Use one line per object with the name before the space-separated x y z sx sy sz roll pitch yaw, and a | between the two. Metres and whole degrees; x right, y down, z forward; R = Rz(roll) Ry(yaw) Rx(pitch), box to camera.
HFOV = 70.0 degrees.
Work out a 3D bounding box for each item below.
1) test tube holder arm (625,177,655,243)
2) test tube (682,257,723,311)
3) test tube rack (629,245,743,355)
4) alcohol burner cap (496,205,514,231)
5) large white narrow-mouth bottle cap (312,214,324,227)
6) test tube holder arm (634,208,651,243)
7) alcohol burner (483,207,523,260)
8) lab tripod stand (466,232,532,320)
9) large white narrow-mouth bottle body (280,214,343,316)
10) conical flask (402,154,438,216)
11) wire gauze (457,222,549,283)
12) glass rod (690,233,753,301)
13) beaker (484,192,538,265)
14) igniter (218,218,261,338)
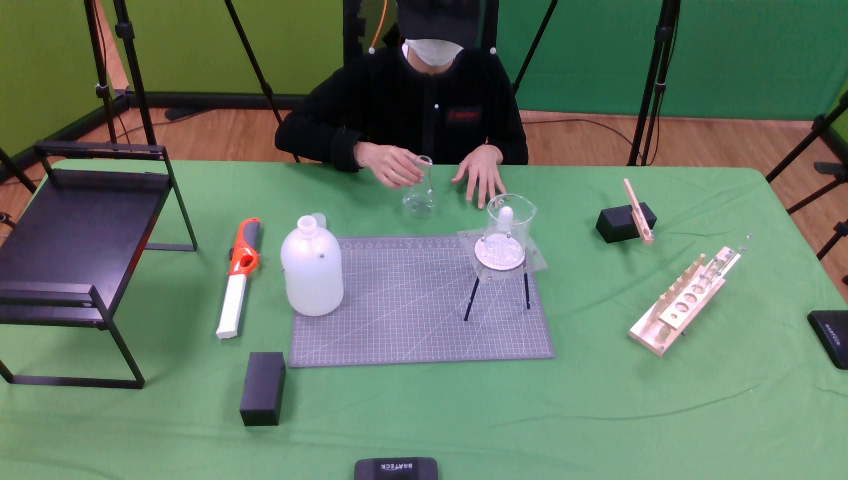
test tube holder arm | 0.433 -0.063 1.220 0.013 0.015 0.177 1 47 -3
test tube | 0.475 0.080 1.037 0.017 0.151 0.017 1 50 -1
test tube rack | 0.474 0.095 1.091 0.242 0.085 0.066 -34 56 -31
alcohol burner cap | 0.153 -0.045 1.131 0.034 0.048 0.033 2 40 -1
large white narrow-mouth bottle cap | -0.219 -0.033 1.214 0.038 0.024 0.037 2 46 -2
test tube holder arm | 0.428 -0.030 1.189 0.010 0.015 0.087 2 47 -2
alcohol burner | 0.152 -0.018 1.156 0.078 0.120 0.077 0 47 0
lab tripod stand | 0.125 0.059 1.065 0.148 0.132 0.147 1 45 0
large white narrow-mouth bottle body | -0.190 0.035 1.025 0.102 0.195 0.101 2 46 -2
conical flask | -0.004 -0.113 1.222 0.075 0.122 0.075 3 45 -3
wire gauze | 0.131 0.016 1.017 0.121 0.011 0.124 -10 44 -15
glass rod | 0.507 0.053 1.041 0.008 0.200 0.008 5 51 -6
beaker | 0.137 -0.016 0.980 0.084 0.101 0.073 -6 45 -9
igniter | -0.336 0.060 1.111 0.057 0.025 0.274 -7 46 4
